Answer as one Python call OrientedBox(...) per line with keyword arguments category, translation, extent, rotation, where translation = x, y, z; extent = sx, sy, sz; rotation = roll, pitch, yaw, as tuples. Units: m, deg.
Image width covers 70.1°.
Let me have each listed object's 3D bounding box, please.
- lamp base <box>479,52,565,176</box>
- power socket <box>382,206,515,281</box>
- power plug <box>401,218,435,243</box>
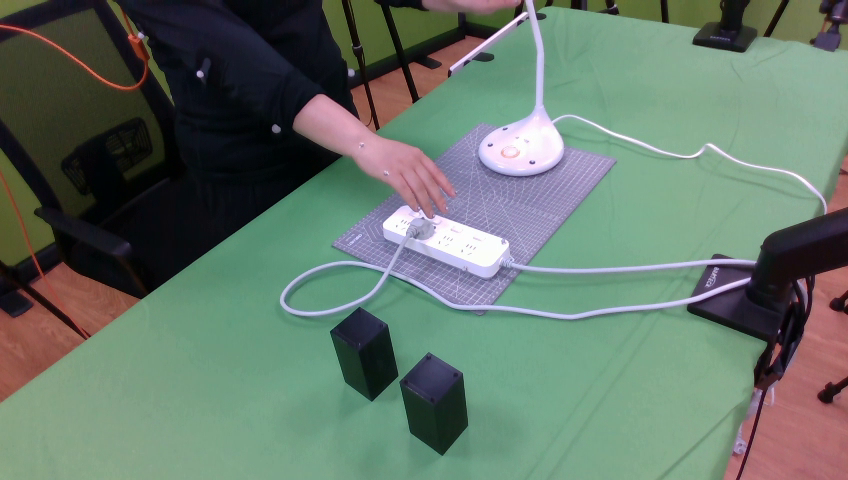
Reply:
OrientedBox(category="lamp base", translation=(0.181, -0.235, 1.093), extent=(0.159, 0.181, 0.179), rotation=(18, 44, 27))
OrientedBox(category="power socket", translation=(0.032, 0.002, 0.950), extent=(0.225, 0.033, 0.072), rotation=(21, 49, 29))
OrientedBox(category="power plug", translation=(-0.014, -0.006, 0.937), extent=(0.073, 0.053, 0.035), rotation=(-37, 46, -26))
